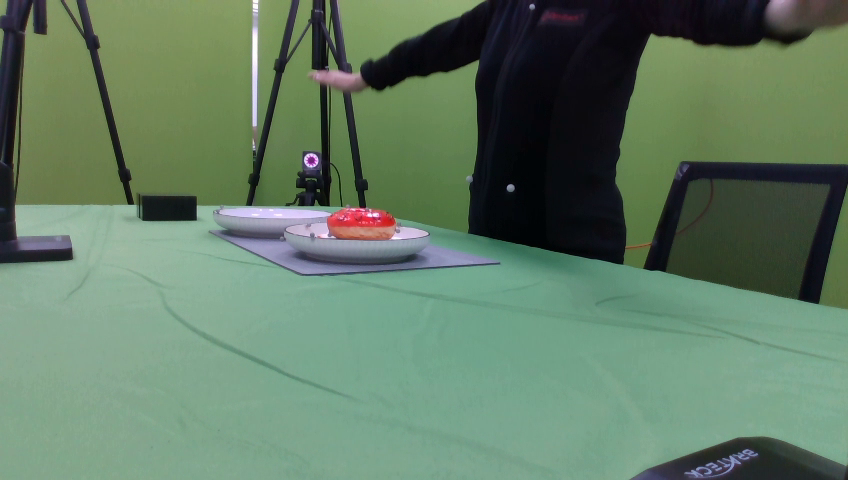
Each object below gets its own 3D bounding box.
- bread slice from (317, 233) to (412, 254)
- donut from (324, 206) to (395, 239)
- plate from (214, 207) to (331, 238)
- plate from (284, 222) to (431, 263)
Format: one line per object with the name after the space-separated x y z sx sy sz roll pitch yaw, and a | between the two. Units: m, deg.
-0.096 0.004 0.863 0.107 0.018 0.133 -1 6 -31 | bread slice
-0.089 -0.022 0.847 0.099 0.048 0.099 4 8 0 | donut
-0.268 -0.032 1.085 0.208 0.039 0.207 2 7 0 | plate
-0.094 0.003 0.868 0.209 0.038 0.209 2 7 0 | plate
